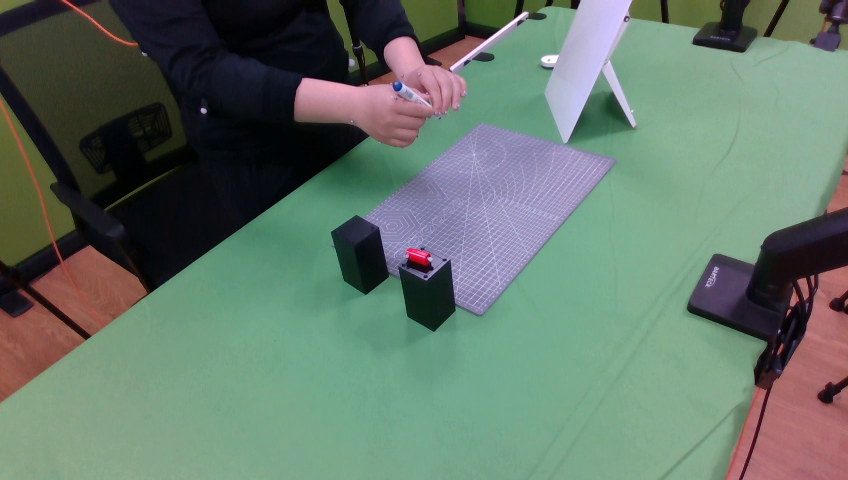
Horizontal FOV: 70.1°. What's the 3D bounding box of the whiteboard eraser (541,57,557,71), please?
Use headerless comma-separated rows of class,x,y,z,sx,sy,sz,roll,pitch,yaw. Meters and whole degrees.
whiteboard eraser,0.323,-0.412,1.407,0.101,0.019,0.041,1,42,11

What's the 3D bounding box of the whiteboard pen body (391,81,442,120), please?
whiteboard pen body,-0.007,-0.209,0.926,0.017,0.142,0.017,-7,77,29

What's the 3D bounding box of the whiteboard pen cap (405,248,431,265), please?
whiteboard pen cap,-0.008,0.021,0.794,0.032,0.017,0.017,17,46,28

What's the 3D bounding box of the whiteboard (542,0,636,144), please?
whiteboard,0.366,-0.351,1.160,0.144,0.305,0.216,10,39,-10
